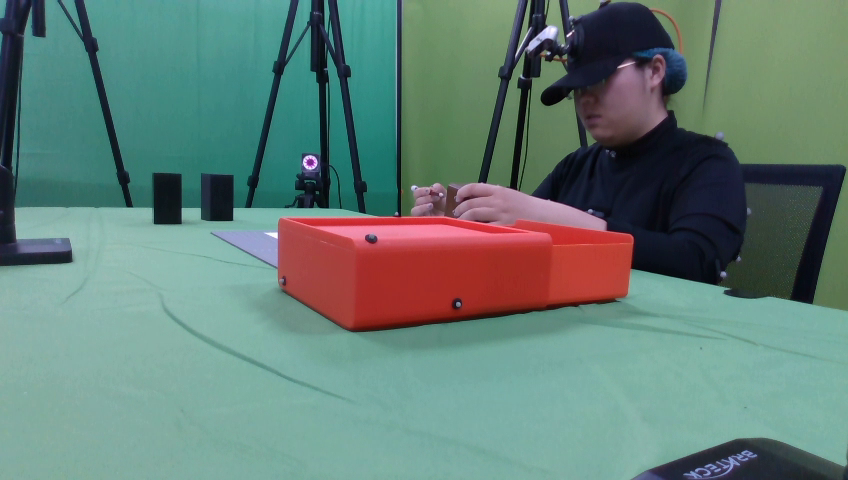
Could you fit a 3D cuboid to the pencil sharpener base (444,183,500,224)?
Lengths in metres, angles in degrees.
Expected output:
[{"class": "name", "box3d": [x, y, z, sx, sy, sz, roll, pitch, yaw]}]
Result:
[{"class": "pencil sharpener base", "box3d": [0.075, -0.034, 0.982, 0.061, 0.107, 0.076, 0, 15, -28]}]

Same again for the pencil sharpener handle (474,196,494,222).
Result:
[{"class": "pencil sharpener handle", "box3d": [0.100, -0.032, 0.937, 0.036, 0.067, 0.030, -4, 17, -27]}]

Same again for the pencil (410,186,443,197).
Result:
[{"class": "pencil", "box3d": [0.004, -0.091, 1.137, 0.012, 0.012, 0.193, 1, 8, -18]}]

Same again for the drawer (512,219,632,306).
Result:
[{"class": "drawer", "box3d": [0.085, 0.021, 0.674, 0.213, 0.073, 0.193, -2, 9, -32]}]

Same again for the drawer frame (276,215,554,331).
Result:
[{"class": "drawer frame", "box3d": [-0.015, 0.022, 0.610, 0.215, 0.082, 0.200, -2, 9, -32]}]
